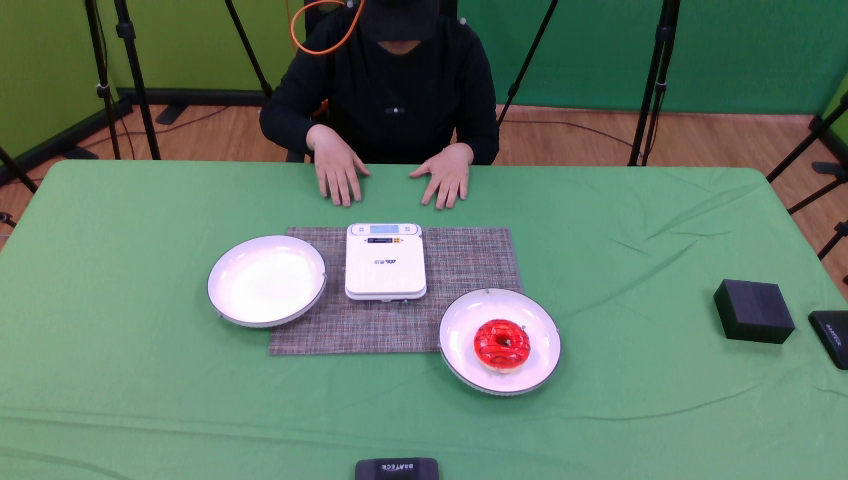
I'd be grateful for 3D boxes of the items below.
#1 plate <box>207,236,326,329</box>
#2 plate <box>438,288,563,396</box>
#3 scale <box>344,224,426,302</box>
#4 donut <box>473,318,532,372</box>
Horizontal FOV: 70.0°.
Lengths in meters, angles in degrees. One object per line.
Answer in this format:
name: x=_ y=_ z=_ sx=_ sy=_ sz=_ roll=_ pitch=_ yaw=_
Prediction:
plate: x=-0.278 y=0.078 z=1.088 sx=0.208 sy=0.039 sz=0.206 roll=1 pitch=46 yaw=0
plate: x=0.127 y=0.173 z=1.025 sx=0.209 sy=0.038 sz=0.208 roll=3 pitch=48 yaw=-3
scale: x=-0.075 y=0.033 z=1.149 sx=0.149 sy=0.032 sz=0.199 roll=0 pitch=45 yaw=-5
donut: x=0.131 y=0.174 z=1.010 sx=0.099 sy=0.048 sz=0.098 roll=1 pitch=48 yaw=-1
